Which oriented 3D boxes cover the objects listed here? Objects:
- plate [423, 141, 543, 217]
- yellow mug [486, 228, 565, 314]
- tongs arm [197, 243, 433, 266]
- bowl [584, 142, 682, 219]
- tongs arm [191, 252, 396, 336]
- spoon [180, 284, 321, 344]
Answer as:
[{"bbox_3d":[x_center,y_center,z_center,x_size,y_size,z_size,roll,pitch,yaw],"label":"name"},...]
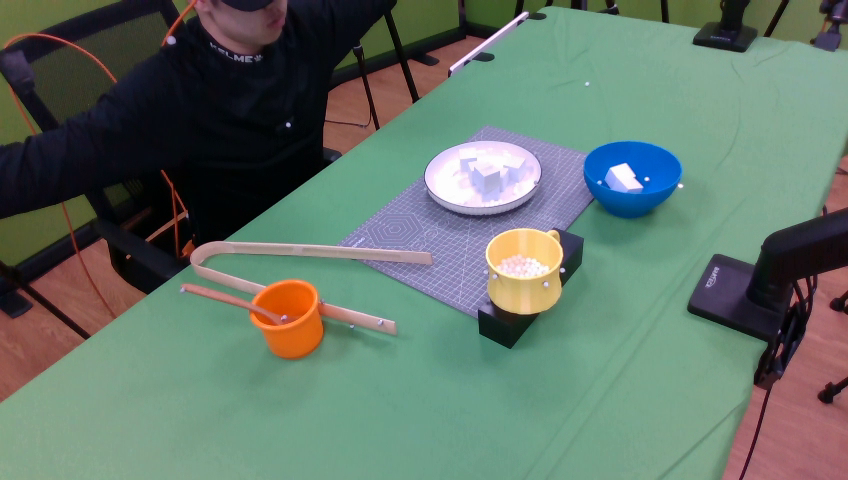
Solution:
[{"bbox_3d":[0.103,-0.103,1.059,0.207,0.039,0.206,-4,40,4],"label":"plate"},{"bbox_3d":[0.142,0.031,0.801,0.099,0.064,0.131,28,51,34],"label":"yellow mug"},{"bbox_3d":[-0.177,0.026,0.961,0.386,0.028,0.028,2,44,12],"label":"tongs arm"},{"bbox_3d":[0.333,-0.087,0.980,0.151,0.077,0.150,-4,40,4],"label":"bowl"},{"bbox_3d":[-0.204,0.075,0.902,0.382,0.026,0.051,10,43,22],"label":"tongs arm"},{"bbox_3d":[-0.223,0.094,0.794,0.021,0.195,0.041,-43,33,28],"label":"spoon"}]
